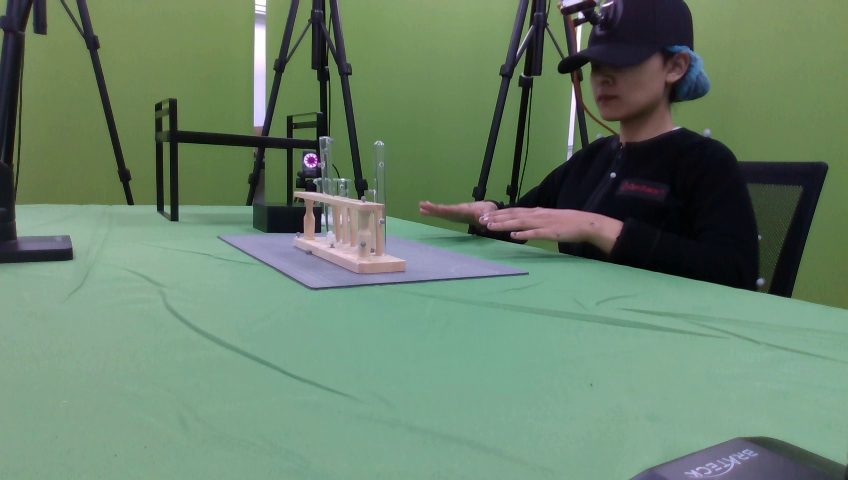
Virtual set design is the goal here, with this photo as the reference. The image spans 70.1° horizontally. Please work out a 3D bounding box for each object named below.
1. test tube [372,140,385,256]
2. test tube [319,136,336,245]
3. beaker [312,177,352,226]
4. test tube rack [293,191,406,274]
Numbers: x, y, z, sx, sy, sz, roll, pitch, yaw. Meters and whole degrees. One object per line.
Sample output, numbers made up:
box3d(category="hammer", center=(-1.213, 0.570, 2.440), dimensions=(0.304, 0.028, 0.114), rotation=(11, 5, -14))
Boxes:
box3d(category="test tube", center=(-0.058, -0.053, 0.781), dimensions=(0.017, 0.150, 0.017), rotation=(0, 5, 0))
box3d(category="test tube", center=(-0.134, -0.068, 0.837), dimensions=(0.017, 0.150, 0.017), rotation=(-3, 4, 0))
box3d(category="beaker", center=(-0.194, -0.081, 1.266), dimensions=(0.084, 0.100, 0.073), rotation=(-3, 9, -29))
box3d(category="test tube rack", center=(-0.110, -0.017, 0.836), dimensions=(0.067, 0.085, 0.241), rotation=(-2, 9, -30))
